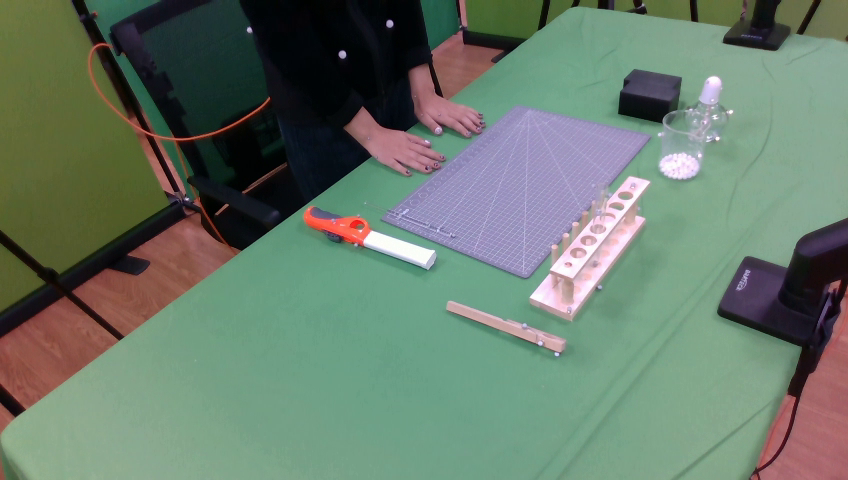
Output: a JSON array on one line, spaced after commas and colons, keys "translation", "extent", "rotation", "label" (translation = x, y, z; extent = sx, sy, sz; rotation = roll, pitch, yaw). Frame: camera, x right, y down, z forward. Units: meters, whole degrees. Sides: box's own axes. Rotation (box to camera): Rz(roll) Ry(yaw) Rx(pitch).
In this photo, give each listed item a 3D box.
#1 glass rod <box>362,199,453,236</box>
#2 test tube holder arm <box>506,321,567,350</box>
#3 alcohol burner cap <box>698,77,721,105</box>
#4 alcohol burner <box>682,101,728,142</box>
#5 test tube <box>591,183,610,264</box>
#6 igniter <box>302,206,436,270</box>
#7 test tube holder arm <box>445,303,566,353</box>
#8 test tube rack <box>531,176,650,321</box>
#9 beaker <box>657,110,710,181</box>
[{"translation": [-0.032, -0.041, 1.041], "extent": [0.198, 0.008, 0.008], "rotation": [22, 50, 31], "label": "glass rod"}, {"translation": [0.148, 0.128, 0.808], "extent": [0.087, 0.015, 0.010], "rotation": [16, 11, 28], "label": "test tube holder arm"}, {"translation": [0.509, -0.266, 1.072], "extent": [0.034, 0.048, 0.033], "rotation": [-4, 48, 5], "label": "alcohol burner cap"}, {"translation": [0.513, -0.239, 1.097], "extent": [0.078, 0.119, 0.077], "rotation": [-4, 40, 4], "label": "alcohol burner"}, {"translation": [0.242, -0.019, 0.832], "extent": [0.017, 0.151, 0.017], "rotation": [-5, 46, 6], "label": "test tube"}, {"translation": [-0.101, -0.007, 1.004], "extent": [0.274, 0.025, 0.057], "rotation": [19, 58, 29], "label": "igniter"}, {"translation": [0.107, 0.117, 0.824], "extent": [0.177, 0.015, 0.013], "rotation": [16, 11, 27], "label": "test tube holder arm"}, {"translation": [0.246, 0.002, 0.884], "extent": [0.066, 0.085, 0.243], "rotation": [22, 49, 32], "label": "test tube rack"}, {"translation": [0.438, -0.156, 1.024], "extent": [0.074, 0.101, 0.083], "rotation": [-14, 41, -4], "label": "beaker"}]
